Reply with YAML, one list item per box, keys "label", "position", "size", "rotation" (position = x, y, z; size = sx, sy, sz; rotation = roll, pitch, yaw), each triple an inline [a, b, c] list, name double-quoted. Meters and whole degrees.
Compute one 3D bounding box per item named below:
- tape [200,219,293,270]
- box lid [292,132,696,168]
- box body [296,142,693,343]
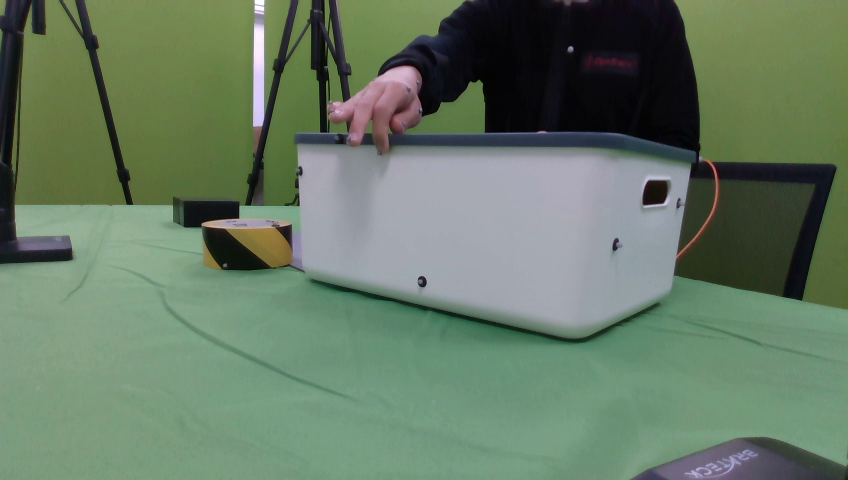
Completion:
- label: "tape"
  position: [-0.228, 0.004, 0.778]
  size: [0.117, 0.052, 0.117]
  rotation: [1, 8, 0]
- label: "box lid"
  position: [0.068, -0.094, 0.645]
  size: [0.369, 0.015, 0.265]
  rotation: [9, 9, 37]
- label: "box body"
  position: [0.065, -0.020, 0.653]
  size: [0.362, 0.160, 0.255]
  rotation: [9, 9, 37]
